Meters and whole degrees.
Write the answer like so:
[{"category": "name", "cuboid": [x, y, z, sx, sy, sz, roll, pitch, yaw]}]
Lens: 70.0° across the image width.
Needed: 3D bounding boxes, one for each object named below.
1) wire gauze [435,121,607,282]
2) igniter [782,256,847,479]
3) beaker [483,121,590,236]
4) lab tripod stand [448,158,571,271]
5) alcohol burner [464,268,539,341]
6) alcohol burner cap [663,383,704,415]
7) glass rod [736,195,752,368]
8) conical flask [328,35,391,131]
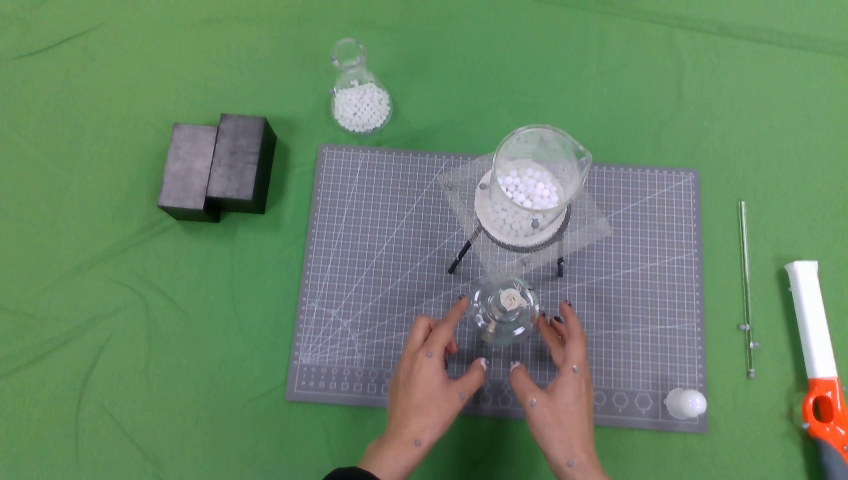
[{"category": "wire gauze", "cuboid": [0.091, -0.037, 0.567, 0.125, 0.011, 0.121, -24, 80, -7]}, {"category": "igniter", "cuboid": [0.423, 0.152, 0.644, 0.057, 0.025, 0.275, 0, 76, -10]}, {"category": "beaker", "cuboid": [0.091, -0.048, 0.520, 0.084, 0.100, 0.073, -16, 77, -4]}, {"category": "lab tripod stand", "cuboid": [0.091, -0.016, 0.630, 0.148, 0.132, 0.147, 0, 77, 1]}, {"category": "alcohol burner", "cuboid": [0.081, 0.063, 0.620, 0.078, 0.119, 0.077, 0, 75, -1]}, {"category": "alcohol burner cap", "cuboid": [0.273, 0.165, 0.630, 0.034, 0.048, 0.033, 0, 75, 1]}, {"category": "glass rod", "cuboid": [0.361, 0.043, 0.682, 0.008, 0.008, 0.198, 4, 76, 1]}, {"category": "conical flask", "cuboid": [-0.078, -0.179, 0.679, 0.075, 0.122, 0.075, 0, 75, 1]}]
